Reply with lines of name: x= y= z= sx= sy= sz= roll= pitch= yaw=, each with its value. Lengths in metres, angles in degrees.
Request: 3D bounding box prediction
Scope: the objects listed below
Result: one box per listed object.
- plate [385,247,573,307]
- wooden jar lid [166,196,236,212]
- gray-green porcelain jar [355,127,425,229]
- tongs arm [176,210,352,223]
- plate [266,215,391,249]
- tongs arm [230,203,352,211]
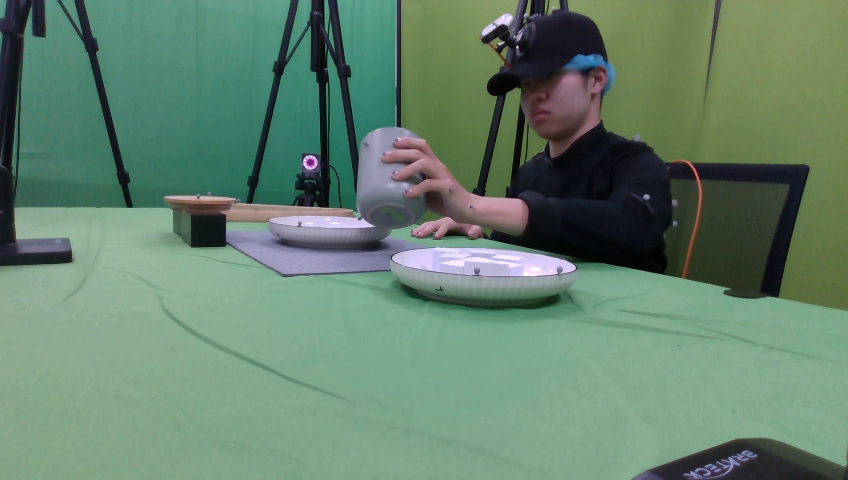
plate: x=0.060 y=0.041 z=0.678 sx=0.208 sy=0.039 sz=0.207 roll=3 pitch=7 yaw=0
wooden jar lid: x=-0.369 y=-0.059 z=1.001 sx=0.108 sy=0.020 sz=0.108 roll=3 pitch=6 yaw=0
gray-green porcelain jar: x=-0.050 y=-0.088 z=0.914 sx=0.106 sy=0.126 sz=0.106 roll=0 pitch=-29 yaw=0
tongs arm: x=-0.337 y=-0.053 z=1.329 sx=0.389 sy=0.028 sz=0.028 roll=-1 pitch=6 yaw=-27
plate: x=-0.159 y=-0.015 z=1.019 sx=0.209 sy=0.038 sz=0.209 roll=3 pitch=7 yaw=0
tongs arm: x=-0.362 y=-0.068 z=1.406 sx=0.386 sy=0.026 sz=0.050 roll=2 pitch=9 yaw=-14
